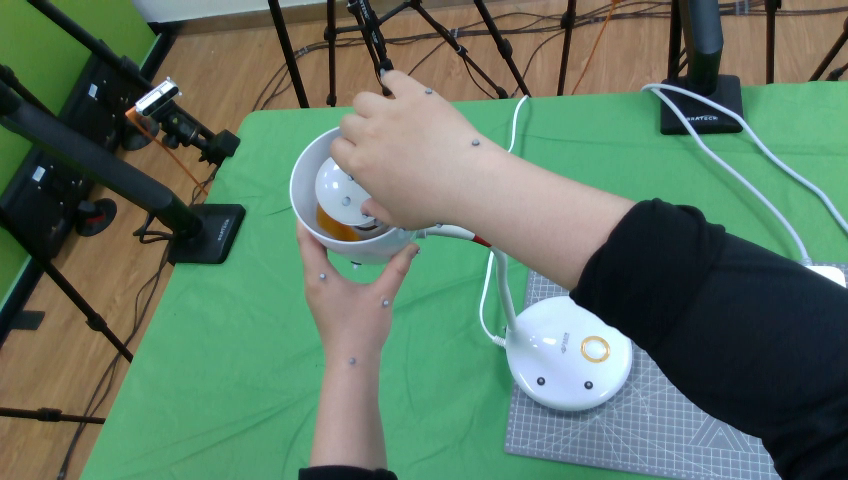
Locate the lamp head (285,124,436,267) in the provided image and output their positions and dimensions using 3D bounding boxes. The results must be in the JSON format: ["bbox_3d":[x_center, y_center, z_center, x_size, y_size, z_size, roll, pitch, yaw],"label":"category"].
[{"bbox_3d":[-0.048,-0.025,0.537,0.112,0.124,0.111,-4,66,10],"label":"lamp head"}]

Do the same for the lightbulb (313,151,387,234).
[{"bbox_3d":[-0.055,-0.033,0.512,0.059,0.108,0.059,-4,69,10],"label":"lightbulb"}]

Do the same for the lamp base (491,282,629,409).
[{"bbox_3d":[0.153,0.103,0.739,0.178,0.182,0.159,-5,56,18],"label":"lamp base"}]

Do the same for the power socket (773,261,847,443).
[{"bbox_3d":[0.467,0.123,0.719,0.072,0.033,0.225,1,58,17],"label":"power socket"}]
